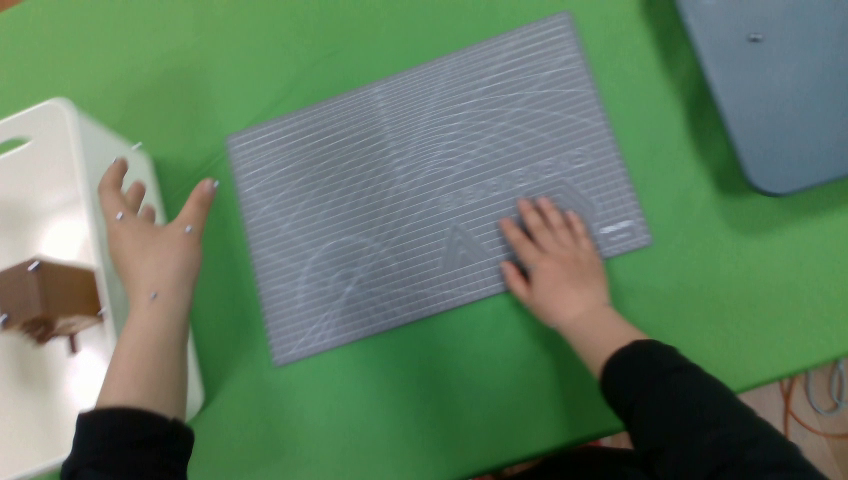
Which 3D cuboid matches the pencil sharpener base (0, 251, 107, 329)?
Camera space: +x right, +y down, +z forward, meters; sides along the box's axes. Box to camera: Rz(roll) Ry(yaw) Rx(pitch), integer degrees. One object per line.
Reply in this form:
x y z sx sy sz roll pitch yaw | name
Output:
-0.439 0.065 0.715 0.061 0.107 0.076 -21 78 6 | pencil sharpener base

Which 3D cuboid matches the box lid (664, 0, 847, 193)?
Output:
0.399 -0.252 0.627 0.263 0.015 0.369 -18 78 7 | box lid

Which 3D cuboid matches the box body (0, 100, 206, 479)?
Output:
-0.428 0.066 0.691 0.254 0.161 0.362 -21 77 6 | box body

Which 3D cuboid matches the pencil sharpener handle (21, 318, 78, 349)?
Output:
-0.424 0.110 0.693 0.036 0.068 0.030 -21 77 7 | pencil sharpener handle
